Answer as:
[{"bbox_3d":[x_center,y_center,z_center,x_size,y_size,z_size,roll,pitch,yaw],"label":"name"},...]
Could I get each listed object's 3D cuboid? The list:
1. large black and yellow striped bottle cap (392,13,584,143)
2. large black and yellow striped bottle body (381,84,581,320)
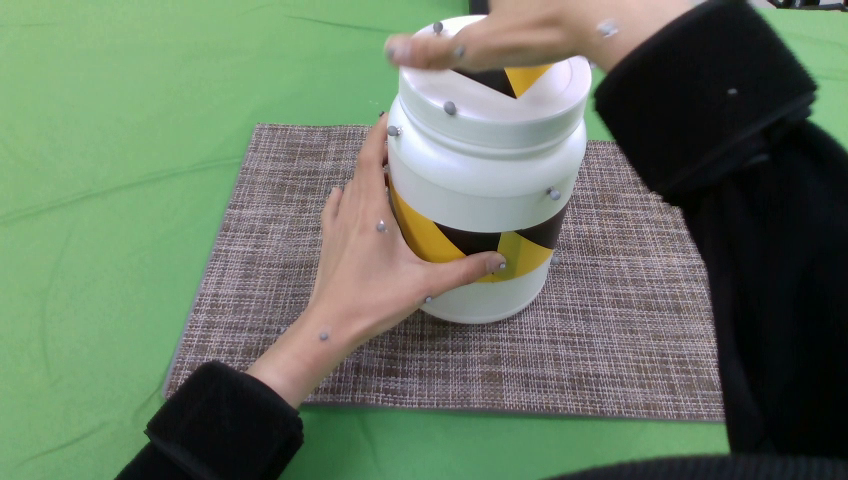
[{"bbox_3d":[0.038,-0.101,0.365,0.115,0.019,0.114,3,49,-3],"label":"large black and yellow striped bottle cap"},{"bbox_3d":[0.035,-0.045,0.428,0.131,0.185,0.129,2,48,-2],"label":"large black and yellow striped bottle body"}]
